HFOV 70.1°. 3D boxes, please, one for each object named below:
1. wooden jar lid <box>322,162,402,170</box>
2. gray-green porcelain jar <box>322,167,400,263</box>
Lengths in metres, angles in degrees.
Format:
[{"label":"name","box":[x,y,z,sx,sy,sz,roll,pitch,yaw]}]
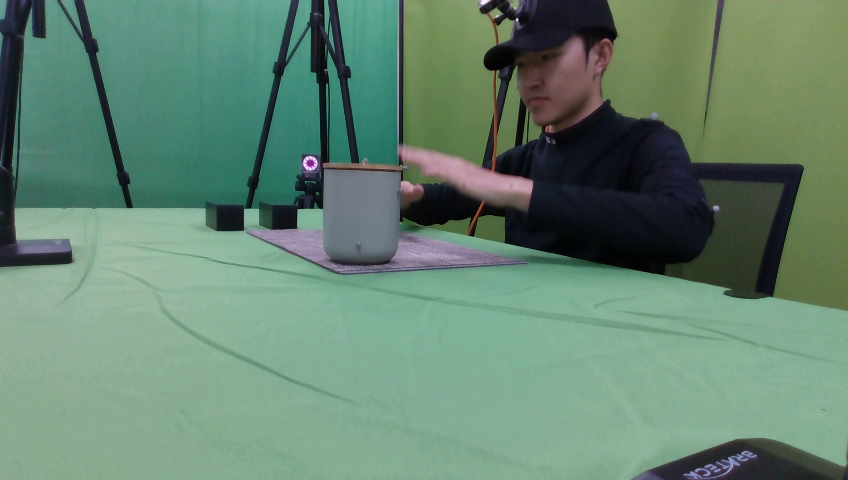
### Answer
[{"label":"wooden jar lid","box":[-0.084,-0.095,0.825,0.108,0.020,0.108,2,4,0]},{"label":"gray-green porcelain jar","box":[-0.087,-0.035,0.833,0.106,0.126,0.106,2,7,0]}]
